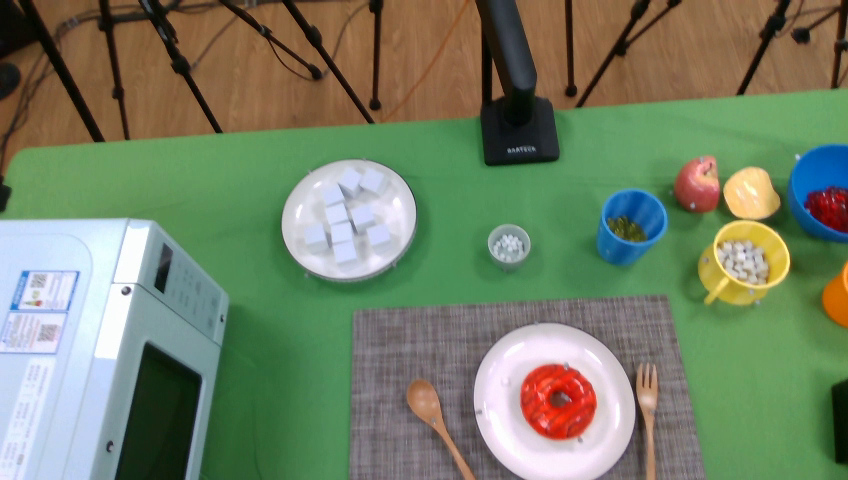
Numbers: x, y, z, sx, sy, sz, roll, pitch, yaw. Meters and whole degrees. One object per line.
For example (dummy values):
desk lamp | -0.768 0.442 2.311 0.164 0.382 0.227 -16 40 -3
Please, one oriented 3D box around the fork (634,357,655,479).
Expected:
fork | 0.282 0.252 0.770 0.028 0.019 0.206 9 64 0

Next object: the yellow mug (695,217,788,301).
yellow mug | 0.428 0.037 0.840 0.131 0.064 0.099 -42 69 -13

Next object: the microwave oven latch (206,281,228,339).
microwave oven latch | -0.298 0.099 0.857 0.030 0.030 0.078 2 66 5

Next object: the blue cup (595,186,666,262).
blue cup | 0.283 -0.015 0.855 0.092 0.101 0.092 -1 66 3

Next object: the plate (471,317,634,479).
plate | 0.164 0.205 0.790 0.209 0.038 0.207 -2 65 4

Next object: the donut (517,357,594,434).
donut | 0.168 0.200 0.780 0.099 0.048 0.098 -2 65 5

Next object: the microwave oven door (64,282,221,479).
microwave oven door | -0.314 0.253 0.673 0.039 0.246 0.353 -1 65 4

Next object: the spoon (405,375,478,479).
spoon | 0.033 0.261 0.782 0.042 0.022 0.192 -21 64 -27

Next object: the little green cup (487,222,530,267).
little green cup | 0.123 0.009 0.890 0.061 0.039 0.061 -2 64 4

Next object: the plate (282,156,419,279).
plate | -0.111 -0.033 0.927 0.207 0.039 0.206 -2 65 3

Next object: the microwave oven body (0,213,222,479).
microwave oven body | -0.458 0.218 0.705 0.326 0.262 0.438 0 65 4

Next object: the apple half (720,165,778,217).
apple half | 0.480 -0.069 0.904 0.081 0.033 0.081 -2 79 11

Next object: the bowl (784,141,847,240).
bowl | 0.584 -0.058 0.866 0.151 0.077 0.150 -2 65 4

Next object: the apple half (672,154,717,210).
apple half | 0.395 -0.084 0.895 0.053 0.075 0.080 0 68 9
